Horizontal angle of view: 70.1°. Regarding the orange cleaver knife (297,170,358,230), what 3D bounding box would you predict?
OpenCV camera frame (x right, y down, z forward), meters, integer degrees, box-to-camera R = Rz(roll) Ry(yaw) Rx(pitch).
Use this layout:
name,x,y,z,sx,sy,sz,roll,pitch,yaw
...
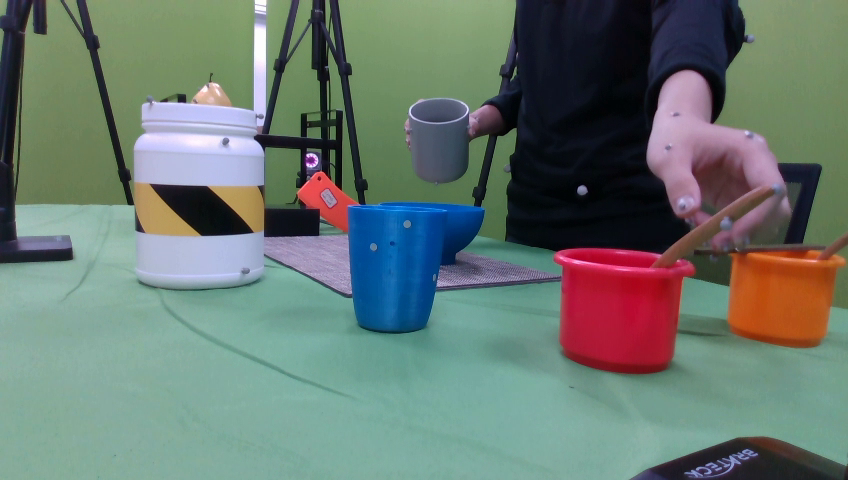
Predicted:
name,x,y,z,sx,sy,sz,roll,pitch,yaw
orange cleaver knife,-0.149,-0.058,1.170,0.212,0.077,0.012,33,-15,-32

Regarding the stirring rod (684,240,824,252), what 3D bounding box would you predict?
name,x,y,z,sx,sy,sz,roll,pitch,yaw
stirring rod,0.289,0.005,0.525,0.177,0.006,0.014,-1,7,-27

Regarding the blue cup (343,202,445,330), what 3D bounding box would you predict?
name,x,y,z,sx,sy,sz,roll,pitch,yaw
blue cup,-0.027,0.021,0.510,0.093,0.100,0.092,3,5,0

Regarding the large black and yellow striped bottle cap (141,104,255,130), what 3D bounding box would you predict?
name,x,y,z,sx,sy,sz,roll,pitch,yaw
large black and yellow striped bottle cap,-0.241,-0.131,0.650,0.115,0.019,0.115,3,8,0

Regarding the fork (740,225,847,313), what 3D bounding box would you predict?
name,x,y,z,sx,sy,sz,roll,pitch,yaw
fork,0.323,0.013,0.485,0.028,0.018,0.207,9,-38,-5

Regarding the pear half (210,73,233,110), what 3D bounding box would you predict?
name,x,y,z,sx,sy,sz,roll,pitch,yaw
pear half,-0.402,-0.262,1.162,0.076,0.109,0.056,6,7,2

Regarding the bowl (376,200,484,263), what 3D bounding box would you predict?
name,x,y,z,sx,sy,sz,roll,pitch,yaw
bowl,0.008,-0.012,0.842,0.151,0.077,0.151,2,7,0

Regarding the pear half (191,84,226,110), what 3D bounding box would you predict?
name,x,y,z,sx,sy,sz,roll,pitch,yaw
pear half,-0.406,-0.248,1.128,0.070,0.088,0.031,6,7,1

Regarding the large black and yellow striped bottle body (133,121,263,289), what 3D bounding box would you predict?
name,x,y,z,sx,sy,sz,roll,pitch,yaw
large black and yellow striped bottle body,-0.243,-0.048,0.659,0.131,0.184,0.130,2,7,0

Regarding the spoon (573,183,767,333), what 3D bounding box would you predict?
name,x,y,z,sx,sy,sz,roll,pitch,yaw
spoon,0.158,0.020,0.412,0.042,0.021,0.193,-2,-35,-21

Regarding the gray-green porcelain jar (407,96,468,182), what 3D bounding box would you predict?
name,x,y,z,sx,sy,sz,roll,pitch,yaw
gray-green porcelain jar,0.026,-0.176,1.074,0.106,0.126,0.105,-2,37,2

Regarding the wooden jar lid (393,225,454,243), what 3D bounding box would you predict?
name,x,y,z,sx,sy,sz,roll,pitch,yaw
wooden jar lid,-0.001,-0.011,1.058,0.108,0.020,0.108,8,5,0
